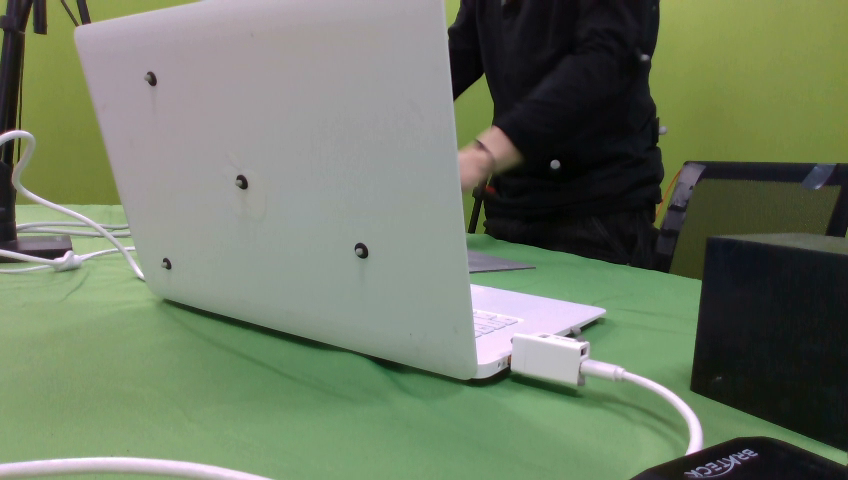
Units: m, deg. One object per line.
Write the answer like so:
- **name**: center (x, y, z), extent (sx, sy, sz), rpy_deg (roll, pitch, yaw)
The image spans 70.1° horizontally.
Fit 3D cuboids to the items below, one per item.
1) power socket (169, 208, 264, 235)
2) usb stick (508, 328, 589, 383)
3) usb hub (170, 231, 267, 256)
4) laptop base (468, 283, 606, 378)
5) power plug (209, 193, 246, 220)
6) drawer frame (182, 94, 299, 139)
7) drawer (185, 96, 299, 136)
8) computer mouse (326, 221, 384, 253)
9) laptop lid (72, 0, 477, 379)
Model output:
- **power socket**: center (-0.381, -0.038, 1.128), extent (0.072, 0.032, 0.227), rpy_deg (4, 8, 16)
- **usb stick**: center (0.072, 0.072, 0.383), extent (0.059, 0.027, 0.021), rpy_deg (2, 2, 34)
- **usb hub**: center (-0.290, 0.004, 0.862), extent (0.049, 0.025, 0.126), rpy_deg (10, 11, 42)
- **laptop base**: center (-0.042, 0.058, 0.554), extent (0.352, 0.023, 0.237), rpy_deg (7, 7, 35)
- **power plug**: center (-0.388, -0.067, 1.205), extent (0.072, 0.052, 0.035), rpy_deg (3, 7, 27)
- **drawer frame**: center (-0.418, -0.276, 1.371), extent (0.203, 0.082, 0.212), rpy_deg (-4, 9, -36)
- **drawer**: center (-0.415, -0.275, 1.370), extent (0.195, 0.073, 0.210), rpy_deg (-4, 9, -35)
- **computer mouse**: center (-0.103, -0.005, 0.926), extent (0.063, 0.041, 0.117), rpy_deg (5, 11, 11)
- **laptop lid**: center (-0.125, -0.042, 0.418), extent (0.355, 0.241, 0.013), rpy_deg (9, 25, 34)
